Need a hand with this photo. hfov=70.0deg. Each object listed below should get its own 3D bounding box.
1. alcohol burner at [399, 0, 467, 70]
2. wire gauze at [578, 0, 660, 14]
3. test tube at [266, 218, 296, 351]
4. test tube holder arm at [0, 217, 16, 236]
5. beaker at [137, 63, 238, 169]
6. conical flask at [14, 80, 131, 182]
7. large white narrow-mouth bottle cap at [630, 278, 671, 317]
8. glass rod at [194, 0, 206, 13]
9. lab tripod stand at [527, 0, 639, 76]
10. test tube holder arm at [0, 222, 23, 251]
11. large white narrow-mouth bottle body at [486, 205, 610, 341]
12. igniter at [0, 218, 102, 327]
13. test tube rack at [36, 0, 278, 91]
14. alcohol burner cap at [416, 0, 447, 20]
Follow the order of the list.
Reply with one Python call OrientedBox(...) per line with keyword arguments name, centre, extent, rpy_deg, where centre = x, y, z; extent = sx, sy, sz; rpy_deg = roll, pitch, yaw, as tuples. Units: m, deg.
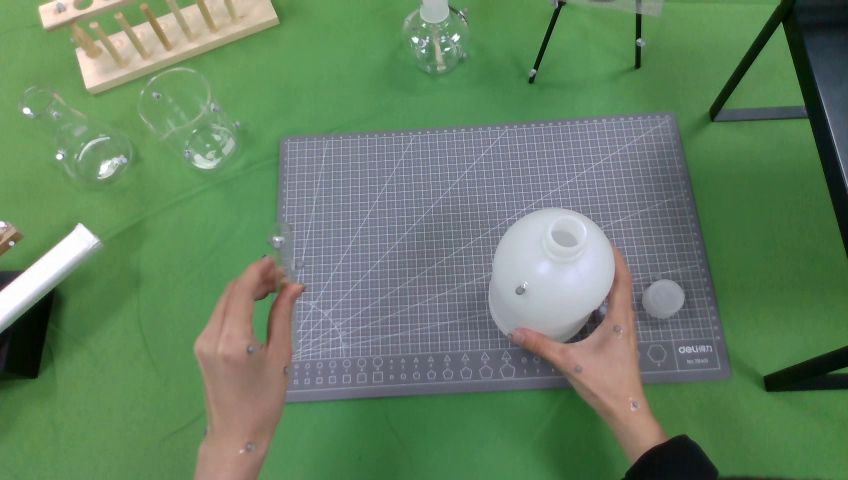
OrientedBox(name="alcohol burner", centre=(0.010, -0.248, 0.679), extent=(0.078, 0.120, 0.077), rpy_deg=(0, 68, 1))
OrientedBox(name="wire gauze", centre=(0.183, -0.282, 0.601), extent=(0.121, 0.011, 0.124), rpy_deg=(17, 72, 7))
OrientedBox(name="test tube", centre=(-0.110, 0.041, 0.473), extent=(0.017, 0.151, 0.017), rpy_deg=(5, 46, -4))
OrientedBox(name="test tube holder arm", centre=(-0.475, 0.045, 0.591), extent=(0.013, 0.015, 0.178), rpy_deg=(40, 75, 15))
OrientedBox(name="beaker", centre=(-0.250, -0.126, 0.653), extent=(0.074, 0.101, 0.083), rpy_deg=(11, 71, 7))
OrientedBox(name="conical flask", centre=(-0.376, -0.119, 0.643), extent=(0.075, 0.123, 0.075), rpy_deg=(-1, 69, 3))
OrientedBox(name="large white narrow-mouth bottle cap", centre=(0.227, 0.057, 0.605), extent=(0.038, 0.024, 0.037), rpy_deg=(-1, 71, 3))
OrientedBox(name="glass rod", centre=(-0.289, -0.327, 0.664), extent=(0.008, 0.201, 0.008), rpy_deg=(-4, 63, 8))
OrientedBox(name="lab tripod stand", centre=(0.179, -0.257, 0.663), extent=(0.148, 0.132, 0.147), rpy_deg=(0, 69, 1))
OrientedBox(name="test tube holder arm", centre=(-0.441, 0.017, 0.601), extent=(0.010, 0.015, 0.087), rpy_deg=(41, 76, 15))
OrientedBox(name="large white narrow-mouth bottle body", centre=(0.108, 0.025, 0.529), extent=(0.102, 0.196, 0.101), rpy_deg=(-1, 71, 4))
OrientedBox(name="igniter", centre=(-0.428, 0.084, 0.572), extent=(0.057, 0.025, 0.276), rpy_deg=(40, 73, 13))
OrientedBox(name="test tube rack", centre=(-0.307, -0.269, 0.715), extent=(0.242, 0.086, 0.066), rpy_deg=(-23, 70, -6))
OrientedBox(name="alcohol burner cap", centre=(0.007, -0.262, 0.645), extent=(0.034, 0.048, 0.033), rpy_deg=(-1, 68, 2))
